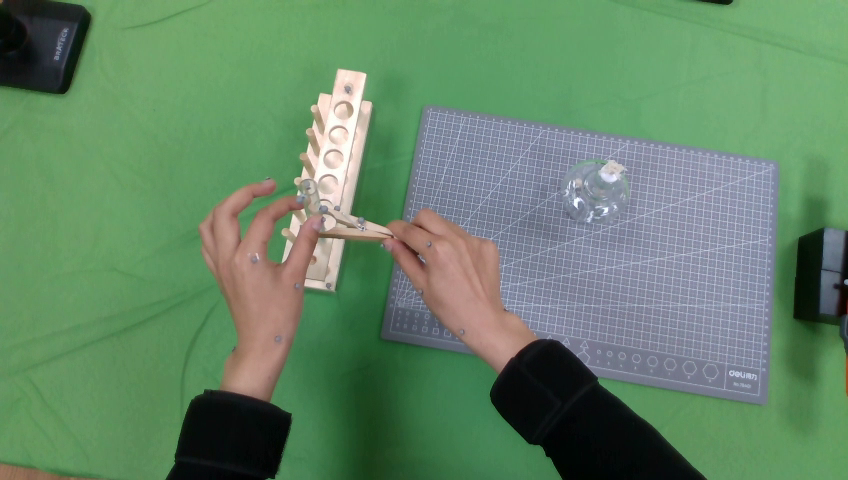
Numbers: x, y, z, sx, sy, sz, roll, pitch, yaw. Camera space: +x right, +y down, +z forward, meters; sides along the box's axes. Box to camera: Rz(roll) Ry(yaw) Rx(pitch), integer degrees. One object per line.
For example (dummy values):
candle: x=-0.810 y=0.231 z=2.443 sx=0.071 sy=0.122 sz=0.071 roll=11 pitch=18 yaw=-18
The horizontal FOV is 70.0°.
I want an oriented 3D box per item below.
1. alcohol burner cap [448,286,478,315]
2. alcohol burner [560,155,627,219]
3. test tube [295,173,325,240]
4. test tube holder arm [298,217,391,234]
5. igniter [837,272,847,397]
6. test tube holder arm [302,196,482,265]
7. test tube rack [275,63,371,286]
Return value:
alcohol burner cap: x=0.046 y=0.067 z=0.692 sx=0.034 sy=0.048 sz=0.033 roll=1 pitch=77 yaw=-4
alcohol burner: x=0.196 y=-0.066 z=0.687 sx=0.078 sy=0.119 sz=0.077 roll=0 pitch=78 yaw=1
test tube: x=-0.104 y=-0.027 z=0.564 sx=0.017 sy=0.151 sz=0.017 roll=2 pitch=74 yaw=-5
test tube holder arm: x=-0.075 y=-0.013 z=0.574 sx=0.088 sy=0.015 sz=0.010 roll=3 pitch=76 yaw=-1
igniter: x=0.486 y=0.047 z=0.667 sx=0.057 sy=0.025 sz=0.275 roll=12 pitch=75 yaw=-1
test tube holder arm: x=-0.030 y=-0.009 z=0.575 sx=0.178 sy=0.015 sz=0.013 roll=17 pitch=77 yaw=2
test tube rack: x=-0.120 y=-0.076 z=0.700 sx=0.067 sy=0.085 sz=0.241 roll=10 pitch=78 yaw=2
